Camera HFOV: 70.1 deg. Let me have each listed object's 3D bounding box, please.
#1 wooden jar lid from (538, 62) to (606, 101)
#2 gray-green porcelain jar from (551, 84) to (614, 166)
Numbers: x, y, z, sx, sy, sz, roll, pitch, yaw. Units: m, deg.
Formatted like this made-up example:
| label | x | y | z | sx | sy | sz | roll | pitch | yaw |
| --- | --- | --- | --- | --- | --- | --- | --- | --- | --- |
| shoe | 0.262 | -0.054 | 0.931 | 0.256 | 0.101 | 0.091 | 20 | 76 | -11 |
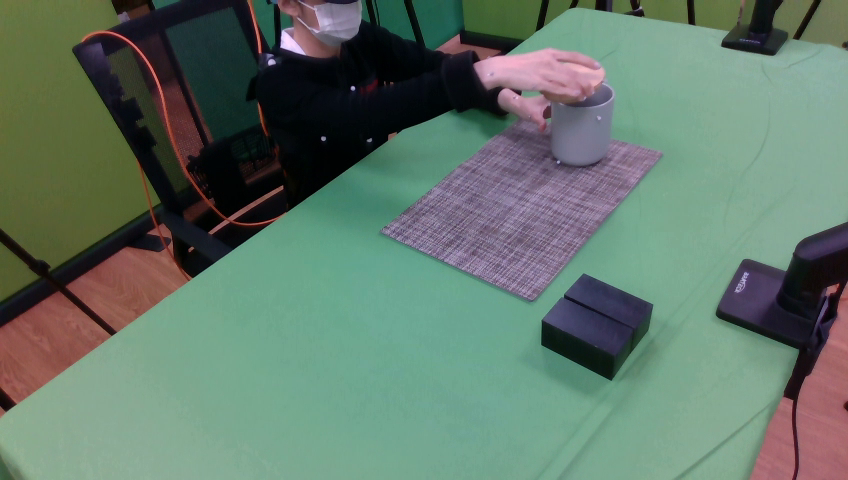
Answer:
| label | x | y | z | sx | sy | sz | roll | pitch | yaw |
| --- | --- | --- | --- | --- | --- | --- | --- | --- | --- |
| wooden jar lid | 0.242 | -0.259 | 0.989 | 0.108 | 0.021 | 0.108 | -9 | 40 | 8 |
| gray-green porcelain jar | 0.282 | -0.205 | 1.087 | 0.106 | 0.127 | 0.105 | -4 | 40 | 4 |
